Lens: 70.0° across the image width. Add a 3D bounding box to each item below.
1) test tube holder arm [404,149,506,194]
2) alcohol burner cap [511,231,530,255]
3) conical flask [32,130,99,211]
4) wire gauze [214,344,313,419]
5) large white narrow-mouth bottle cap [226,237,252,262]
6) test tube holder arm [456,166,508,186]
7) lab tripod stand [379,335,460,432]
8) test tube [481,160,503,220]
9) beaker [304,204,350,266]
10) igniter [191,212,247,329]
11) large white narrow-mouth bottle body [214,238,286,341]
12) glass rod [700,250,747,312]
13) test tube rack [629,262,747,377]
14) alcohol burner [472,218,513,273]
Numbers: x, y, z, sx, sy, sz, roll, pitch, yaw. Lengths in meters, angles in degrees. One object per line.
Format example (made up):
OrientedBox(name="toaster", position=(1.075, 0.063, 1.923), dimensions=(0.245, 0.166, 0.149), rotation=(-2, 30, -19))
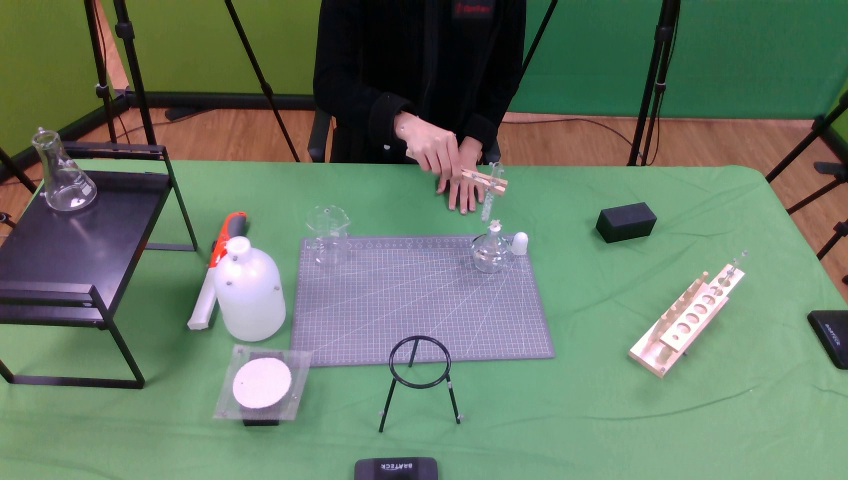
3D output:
OrientedBox(name="test tube holder arm", position=(0.050, -0.114, 1.003), dimensions=(0.178, 0.015, 0.013), rotation=(21, 51, 7))
OrientedBox(name="alcohol burner cap", position=(0.191, 0.003, 1.187), dimensions=(0.034, 0.048, 0.033), rotation=(3, 44, -3))
OrientedBox(name="conical flask", position=(-0.565, -0.111, 0.944), dimensions=(0.075, 0.122, 0.075), rotation=(2, 46, -2))
OrientedBox(name="wire gauze", position=(-0.241, 0.213, 0.915), dimensions=(0.121, 0.011, 0.124), rotation=(5, 46, 1))
OrientedBox(name="large white narrow-mouth bottle cap", position=(-0.282, 0.014, 0.923), dimensions=(0.038, 0.024, 0.037), rotation=(2, 46, -2))
OrientedBox(name="test tube holder arm", position=(0.094, -0.104, 1.002), dimensions=(0.088, 0.015, 0.010), rotation=(15, 51, 2))
OrientedBox(name="lab tripod stand", position=(-0.011, 0.214, 0.911), dimensions=(0.148, 0.132, 0.147), rotation=(1, 45, 0))
OrientedBox(name="test tube", position=(0.113, -0.080, 1.019), dimensions=(0.017, 0.151, 0.017), rotation=(2, 57, -3))
OrientedBox(name="beaker", position=(-0.178, -0.006, 1.132), dimensions=(0.084, 0.101, 0.073), rotation=(4, 46, -1))
OrientedBox(name="igniter", position=(-0.376, 0.047, 1.121), dimensions=(0.057, 0.025, 0.275), rotation=(-4, 46, 6))
OrientedBox(name="large white narrow-mouth bottle body", position=(-0.285, 0.073, 0.986), dimensions=(0.102, 0.195, 0.101), rotation=(2, 46, -2))
OrientedBox(name="glass rod", position=(0.500, 0.075, 1.021), dimensions=(0.008, 0.201, 0.008), rotation=(0, 54, 1))
OrientedBox(name="test tube rack", position=(0.464, 0.126, 1.061), dimensions=(0.242, 0.085, 0.066), rotation=(-34, 56, -31))
OrientedBox(name="alcohol burner", position=(0.128, 0.005, 1.132), dimensions=(0.078, 0.120, 0.077), rotation=(0, 47, 0))
